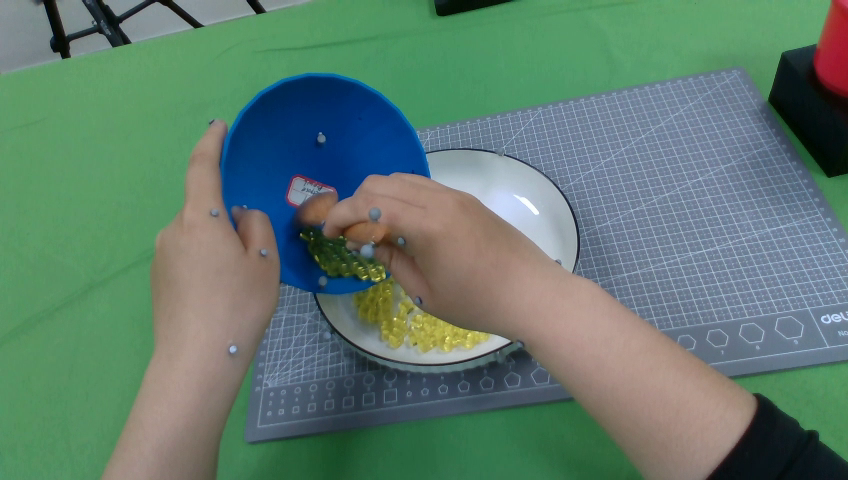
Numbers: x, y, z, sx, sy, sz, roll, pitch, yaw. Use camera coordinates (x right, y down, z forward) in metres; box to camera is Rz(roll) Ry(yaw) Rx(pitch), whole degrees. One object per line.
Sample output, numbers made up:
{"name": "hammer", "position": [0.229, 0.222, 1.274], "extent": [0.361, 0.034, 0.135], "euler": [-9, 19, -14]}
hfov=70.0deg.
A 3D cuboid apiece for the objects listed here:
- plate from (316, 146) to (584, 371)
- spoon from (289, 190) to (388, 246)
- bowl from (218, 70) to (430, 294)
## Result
{"name": "plate", "position": [0.018, 0.011, 0.474], "extent": [0.207, 0.039, 0.205], "euler": [-7, 52, 9]}
{"name": "spoon", "position": [-0.051, -0.012, 0.361], "extent": [0.041, 0.022, 0.192], "euler": [-34, 20, -14]}
{"name": "bowl", "position": [-0.079, -0.038, 0.440], "extent": [0.151, 0.152, 0.076], "euler": [-46, 22, -22]}
